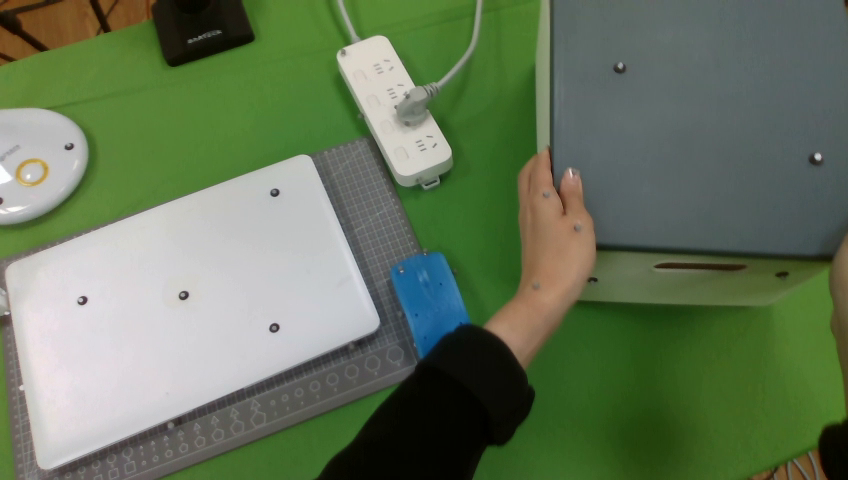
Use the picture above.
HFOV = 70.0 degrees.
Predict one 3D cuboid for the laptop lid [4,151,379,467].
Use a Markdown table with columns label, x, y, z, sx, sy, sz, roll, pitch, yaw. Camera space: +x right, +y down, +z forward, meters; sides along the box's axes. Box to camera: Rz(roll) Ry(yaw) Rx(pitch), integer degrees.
| label | x | y | z | sx | sy | sz | roll | pitch | yaw |
| --- | --- | --- | --- | --- | --- | --- | --- | --- | --- |
| laptop lid | -0.250 | 0.057 | 0.638 | 0.357 | 0.013 | 0.239 | -21 | 68 | -7 |

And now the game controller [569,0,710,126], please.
| label | x | y | z | sx | sy | sz | roll | pitch | yaw |
| --- | --- | --- | --- | --- | --- | --- | --- | --- | --- |
| game controller | 0.236 | -0.205 | 0.658 | 0.097 | 0.052 | 0.154 | -23 | 66 | -9 |

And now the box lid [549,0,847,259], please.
| label | x | y | z | sx | sy | sz | roll | pitch | yaw |
| --- | --- | --- | --- | --- | --- | --- | --- | --- | --- |
| box lid | 0.242 | -0.161 | 0.531 | 0.263 | 0.015 | 0.369 | 3 | 68 | 4 |

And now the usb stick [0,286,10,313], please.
| label | x | y | z | sx | sy | sz | roll | pitch | yaw |
| --- | --- | --- | --- | --- | --- | --- | --- | --- | --- |
| usb stick | -0.458 | 0.065 | 0.641 | 0.059 | 0.027 | 0.021 | -19 | 61 | -9 |

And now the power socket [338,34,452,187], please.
| label | x | y | z | sx | sy | sz | roll | pitch | yaw |
| --- | --- | --- | --- | --- | --- | --- | --- | --- | --- |
| power socket | -0.037 | -0.163 | 0.738 | 0.072 | 0.033 | 0.224 | -22 | 66 | -10 |

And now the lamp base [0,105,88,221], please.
| label | x | y | z | sx | sy | sz | roll | pitch | yaw |
| --- | --- | --- | --- | --- | --- | --- | --- | --- | --- |
| lamp base | -0.500 | -0.133 | 0.661 | 0.178 | 0.182 | 0.160 | 25 | 68 | 16 |

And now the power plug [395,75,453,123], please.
| label | x | y | z | sx | sy | sz | roll | pitch | yaw |
| --- | --- | --- | --- | --- | --- | --- | --- | --- | --- |
| power plug | 0.002 | -0.157 | 0.708 | 0.072 | 0.053 | 0.035 | -12 | 64 | -5 |

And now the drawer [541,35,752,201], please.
| label | x | y | z | sx | sy | sz | roll | pitch | yaw |
| --- | --- | --- | --- | --- | --- | --- | --- | --- | --- |
| drawer | 0.242 | -0.145 | 0.700 | 0.194 | 0.074 | 0.210 | -1 | 55 | 5 |

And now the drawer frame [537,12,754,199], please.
| label | x | y | z | sx | sy | sz | roll | pitch | yaw |
| --- | --- | --- | --- | --- | --- | --- | --- | --- | --- |
| drawer frame | 0.236 | -0.156 | 0.688 | 0.202 | 0.083 | 0.211 | 1 | 59 | 1 |

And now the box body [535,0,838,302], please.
| label | x | y | z | sx | sy | sz | roll | pitch | yaw |
| --- | --- | --- | --- | --- | --- | --- | --- | --- | --- |
| box body | 0.249 | -0.123 | 0.635 | 0.254 | 0.161 | 0.361 | 1 | 65 | 3 |

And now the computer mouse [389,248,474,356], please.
| label | x | y | z | sx | sy | sz | roll | pitch | yaw |
| --- | --- | --- | --- | --- | --- | --- | --- | --- | --- |
| computer mouse | 0.006 | 0.061 | 0.626 | 0.063 | 0.041 | 0.116 | -18 | 62 | -4 |

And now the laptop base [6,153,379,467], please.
| label | x | y | z | sx | sy | sz | roll | pitch | yaw |
| --- | --- | --- | --- | --- | --- | --- | --- | --- | --- |
| laptop base | -0.250 | 0.060 | 0.650 | 0.354 | 0.023 | 0.233 | -22 | 70 | -8 |
